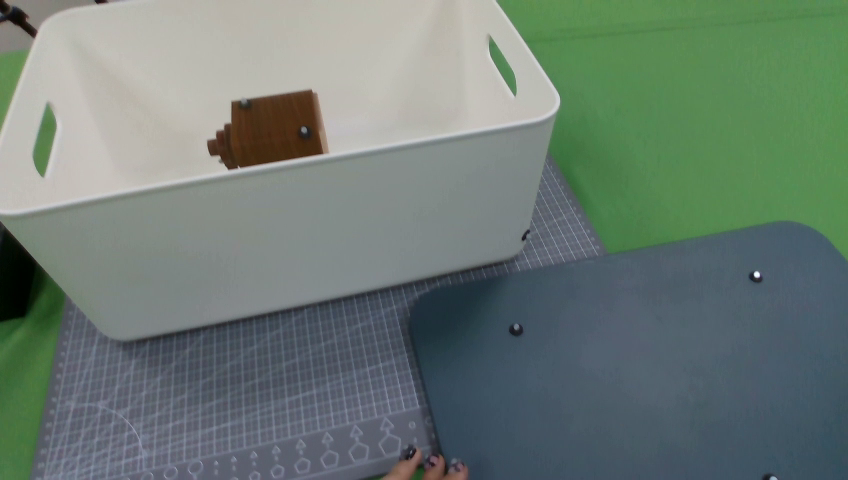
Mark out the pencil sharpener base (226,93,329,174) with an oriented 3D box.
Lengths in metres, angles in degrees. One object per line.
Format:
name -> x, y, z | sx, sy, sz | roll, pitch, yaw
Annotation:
pencil sharpener base -> -0.119, -0.061, 0.518 | 0.077, 0.108, 0.060 | -10, 49, -7

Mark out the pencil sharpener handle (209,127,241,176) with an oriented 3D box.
pencil sharpener handle -> -0.169, -0.061, 0.503 | 0.031, 0.068, 0.035 | -10, 52, -7

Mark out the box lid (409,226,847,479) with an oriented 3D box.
box lid -> 0.188, 0.112, 0.430 | 0.372, 0.015, 0.260 | -11, 49, -9

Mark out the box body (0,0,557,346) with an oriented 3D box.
box body -> -0.107, -0.080, 0.506 | 0.365, 0.162, 0.251 | -12, 49, -9
